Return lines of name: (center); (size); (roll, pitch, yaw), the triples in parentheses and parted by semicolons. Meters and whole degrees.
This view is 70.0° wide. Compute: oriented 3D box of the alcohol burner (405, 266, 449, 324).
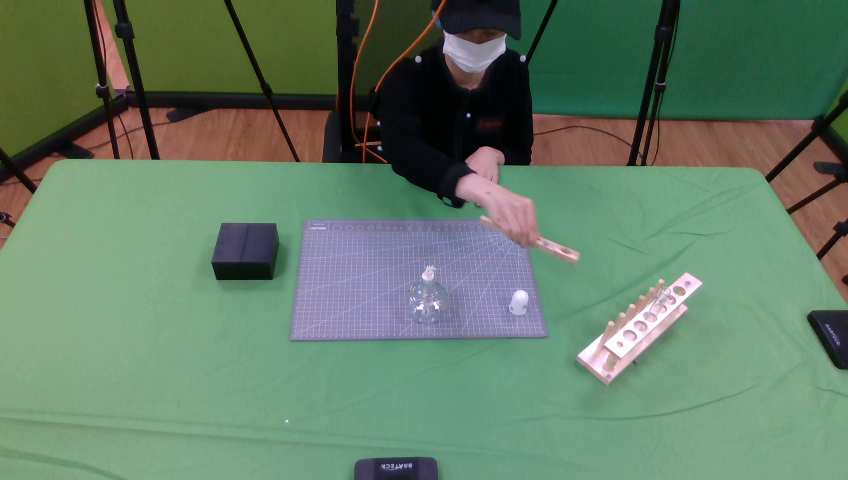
alcohol burner: (0.005, 0.089, 1.044); (0.078, 0.120, 0.077); (1, 44, -1)

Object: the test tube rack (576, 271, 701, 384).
test tube rack: (0.373, 0.138, 1.047); (0.242, 0.085, 0.066); (-31, 56, -29)

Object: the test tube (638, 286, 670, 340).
test tube: (0.373, 0.122, 0.994); (0.017, 0.151, 0.017); (0, 51, 0)

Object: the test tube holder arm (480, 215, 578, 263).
test tube holder arm: (0.175, -0.003, 1.023); (0.178, 0.015, 0.013); (24, 55, 18)

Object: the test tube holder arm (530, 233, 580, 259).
test tube holder arm: (0.217, 0.010, 1.011); (0.087, 0.015, 0.010); (23, 55, 18)

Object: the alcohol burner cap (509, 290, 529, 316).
alcohol burner cap: (0.171, 0.110, 1.086); (0.034, 0.048, 0.033); (2, 45, -1)
